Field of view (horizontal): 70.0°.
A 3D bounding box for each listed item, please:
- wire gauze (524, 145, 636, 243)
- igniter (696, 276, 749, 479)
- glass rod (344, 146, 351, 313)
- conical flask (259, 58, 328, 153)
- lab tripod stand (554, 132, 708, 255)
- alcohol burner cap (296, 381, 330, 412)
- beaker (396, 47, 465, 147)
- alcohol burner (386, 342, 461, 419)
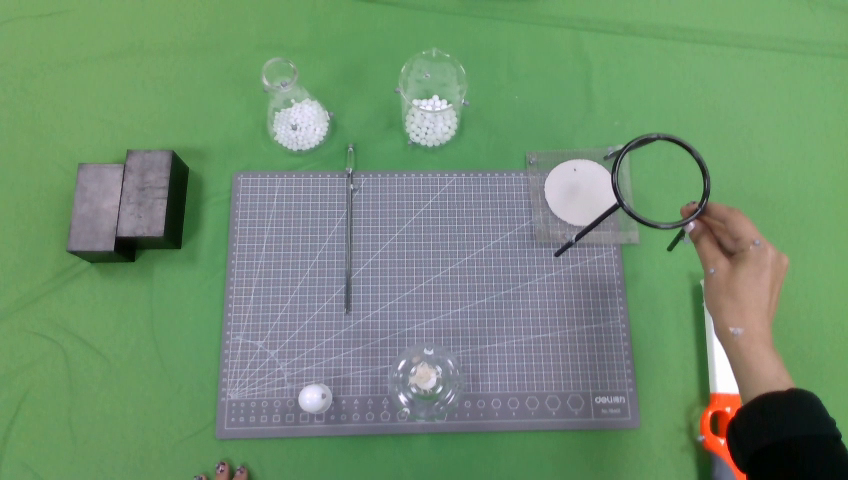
[{"bbox_3d":[0.184,-0.055,0.716,0.125,0.011,0.121,-1,75,-2],"label":"wire gauze"},{"bbox_3d":[0.318,0.175,0.652,0.057,0.025,0.275,7,75,-11],"label":"igniter"},{"bbox_3d":[-0.088,-0.016,0.695,0.008,0.008,0.198,-1,75,-2],"label":"glass rod"},{"bbox_3d":[-0.152,-0.154,0.675,0.075,0.122,0.075,0,74,-1],"label":"conical flask"},{"bbox_3d":[0.205,-0.037,0.604,0.148,0.132,0.147,1,79,-3],"label":"lab tripod stand"},{"bbox_3d":[-0.117,0.163,0.630,0.034,0.048,0.033,1,75,-2],"label":"alcohol burner cap"},{"bbox_3d":[0.006,-0.159,0.694,0.074,0.101,0.083,2,74,-1],"label":"beaker"},{"bbox_3d":[0.000,0.140,0.603,0.078,0.119,0.077,0,76,-1],"label":"alcohol burner"}]
